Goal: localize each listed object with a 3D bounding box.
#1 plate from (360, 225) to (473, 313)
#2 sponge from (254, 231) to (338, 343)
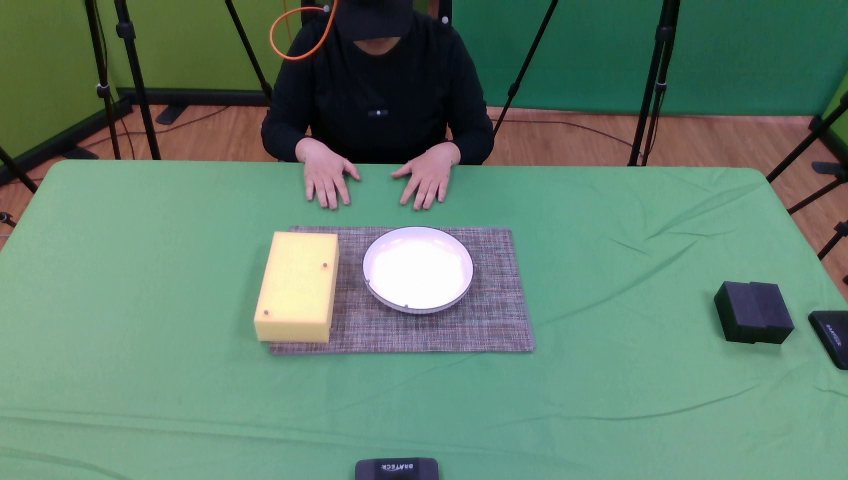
[{"bbox_3d":[-0.014,0.057,1.126,0.208,0.039,0.206,2,46,-2],"label":"plate"},{"bbox_3d":[-0.221,0.079,1.073,0.118,0.061,0.205,1,46,-3],"label":"sponge"}]
